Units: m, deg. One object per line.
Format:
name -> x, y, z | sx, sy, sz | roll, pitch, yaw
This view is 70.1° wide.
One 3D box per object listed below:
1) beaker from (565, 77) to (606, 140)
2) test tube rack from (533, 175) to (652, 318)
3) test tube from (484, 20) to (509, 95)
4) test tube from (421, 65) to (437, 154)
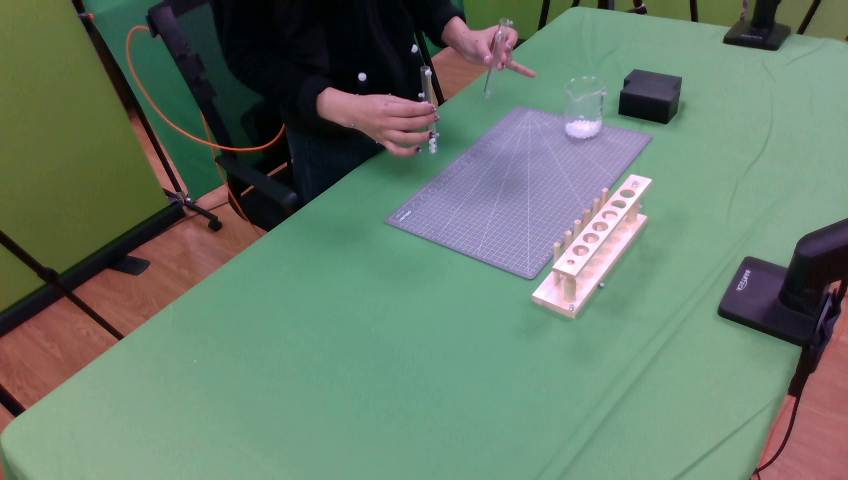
beaker -> 0.304, -0.247, 1.153 | 0.073, 0.101, 0.084 | 15, 47, 27
test tube rack -> 0.250, -0.001, 0.889 | 0.066, 0.085, 0.243 | 22, 49, 33
test tube -> 0.126, -0.316, 1.059 | 0.017, 0.150, 0.017 | 4, 51, -4
test tube -> 0.008, -0.206, 0.971 | 0.017, 0.151, 0.017 | -4, 37, 3
